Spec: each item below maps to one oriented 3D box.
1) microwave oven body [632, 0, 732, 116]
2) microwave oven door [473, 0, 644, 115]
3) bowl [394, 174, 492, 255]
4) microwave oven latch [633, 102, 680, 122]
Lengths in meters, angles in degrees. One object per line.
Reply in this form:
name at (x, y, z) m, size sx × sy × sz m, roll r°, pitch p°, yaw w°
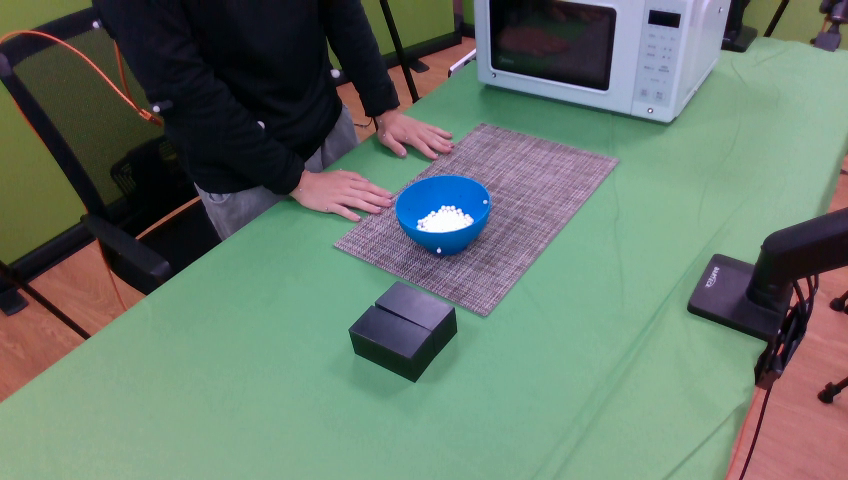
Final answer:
microwave oven body at (0.377, -0.462, 1.267) m, size 0.438 × 0.261 × 0.327 m, roll 21°, pitch 48°, yaw 30°
microwave oven door at (0.257, -0.396, 1.199) m, size 0.353 × 0.245 × 0.039 m, roll 21°, pitch 48°, yaw 29°
bowl at (0.032, -0.030, 0.949) m, size 0.151 × 0.077 × 0.150 m, roll -4°, pitch 40°, yaw 4°
microwave oven latch at (0.444, -0.249, 1.157) m, size 0.078 × 0.029 × 0.030 m, roll 21°, pitch 49°, yaw 30°
